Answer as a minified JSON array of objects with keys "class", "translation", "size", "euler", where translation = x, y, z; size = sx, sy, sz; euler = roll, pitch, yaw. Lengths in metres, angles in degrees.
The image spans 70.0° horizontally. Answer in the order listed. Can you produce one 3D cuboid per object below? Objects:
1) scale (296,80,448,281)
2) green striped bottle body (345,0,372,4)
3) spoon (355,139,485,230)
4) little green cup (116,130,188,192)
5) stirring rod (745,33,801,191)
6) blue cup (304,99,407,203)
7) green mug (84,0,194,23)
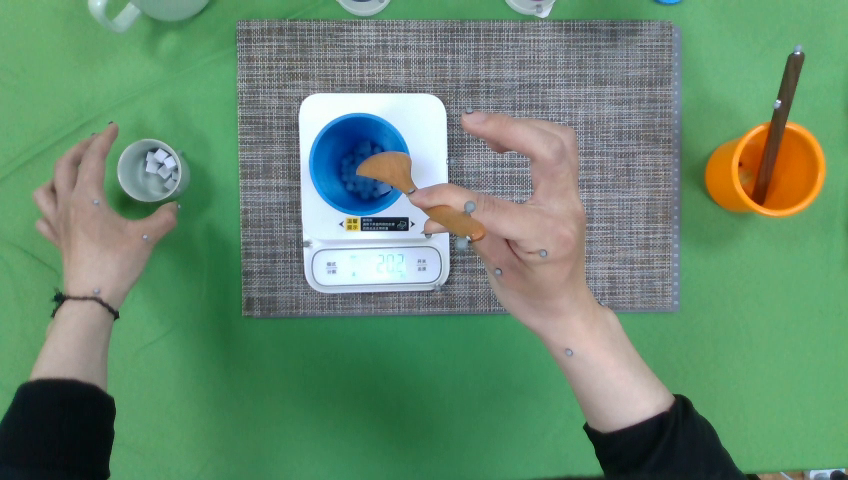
[{"class":"scale","translation":[-0.052,-0.060,0.611],"size":[0.149,0.031,0.201],"euler":[-2,93,-2]},{"class":"green striped bottle body","translation":[-0.065,-0.269,0.560],"size":[0.063,0.119,0.063],"euler":[0,92,-2]},{"class":"spoon","translation":[-0.004,-0.038,0.377],"size":[0.042,0.192,0.022],"euler":[-21,118,-14]},{"class":"little green cup","translation":[-0.267,-0.077,0.602],"size":[0.061,0.038,0.061],"euler":[0,92,-3]},{"class":"stirring rod","translation":[0.328,-0.113,0.574],"size":[0.014,0.005,0.178],"euler":[-15,135,0]},{"class":"blue cup","translation":[-0.057,-0.076,0.545],"size":[0.093,0.100,0.092],"euler":[0,94,-2]},{"class":"green mug","translation":[-0.267,-0.258,0.561],"size":[0.092,0.105,0.125],"euler":[34,91,-3]}]
